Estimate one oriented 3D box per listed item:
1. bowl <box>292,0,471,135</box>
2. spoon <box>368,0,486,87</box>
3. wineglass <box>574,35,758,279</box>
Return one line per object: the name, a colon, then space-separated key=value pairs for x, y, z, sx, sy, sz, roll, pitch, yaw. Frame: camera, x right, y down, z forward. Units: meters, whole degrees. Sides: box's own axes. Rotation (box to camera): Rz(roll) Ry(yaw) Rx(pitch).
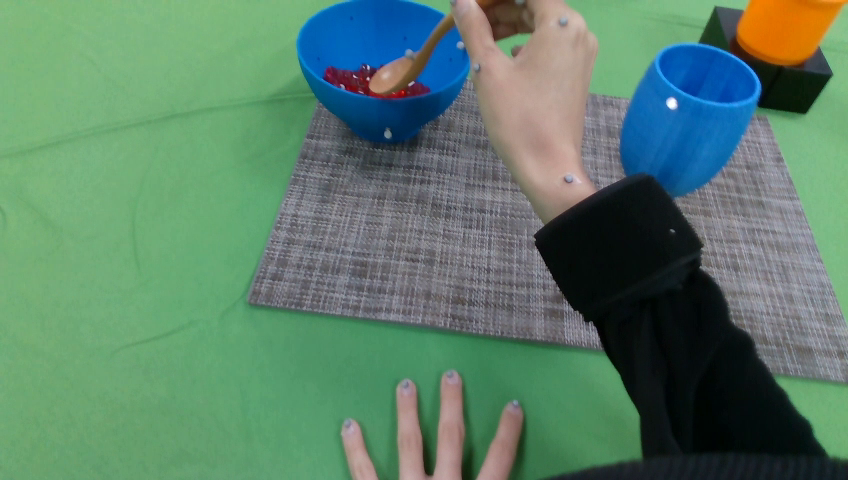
bowl: x=-0.038 y=-0.148 z=0.543 sx=0.151 sy=0.077 sz=0.150 roll=3 pitch=51 yaw=-3
spoon: x=0.014 y=-0.140 z=0.395 sx=0.022 sy=0.193 sz=0.041 roll=40 pitch=65 yaw=-19
wineglass: x=0.159 y=-0.049 z=0.422 sx=0.074 sy=0.173 sz=0.073 roll=3 pitch=51 yaw=-3
